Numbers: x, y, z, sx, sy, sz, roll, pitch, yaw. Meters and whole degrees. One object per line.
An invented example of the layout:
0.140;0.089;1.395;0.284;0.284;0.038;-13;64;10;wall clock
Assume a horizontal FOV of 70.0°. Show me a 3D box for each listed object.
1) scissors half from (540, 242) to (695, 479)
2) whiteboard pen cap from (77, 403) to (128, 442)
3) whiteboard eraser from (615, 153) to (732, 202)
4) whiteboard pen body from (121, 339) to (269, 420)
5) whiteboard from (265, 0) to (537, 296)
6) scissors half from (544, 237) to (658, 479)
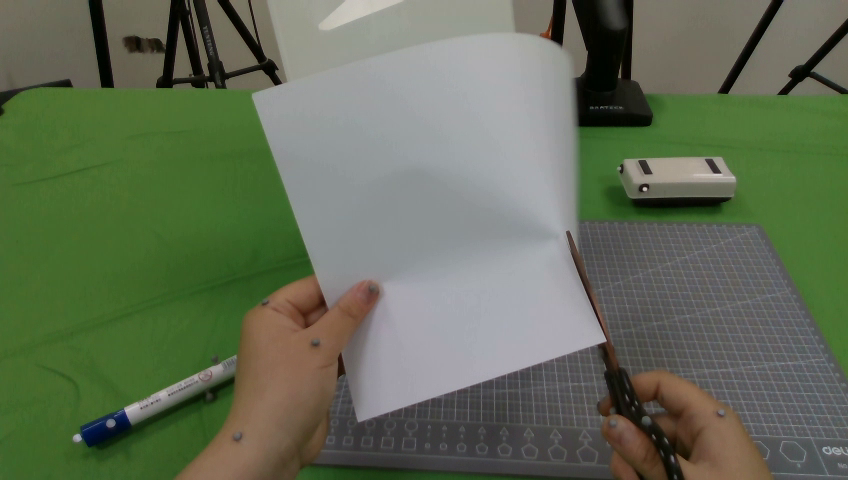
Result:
0.108;0.073;0.346;0.013;0.040;0.173;-25;63;-3;scissors half
-0.237;0.133;0.449;0.033;0.018;0.018;-26;45;-27;whiteboard pen cap
0.274;-0.069;0.669;0.113;0.042;0.055;0;42;1;whiteboard eraser
-0.189;0.113;0.475;0.141;0.017;0.017;-24;45;-27;whiteboard pen body
-0.031;-0.136;0.601;0.218;0.307;0.142;-17;22;-17;whiteboard
0.109;0.079;0.367;0.013;0.175;0.040;-23;0;-8;scissors half
